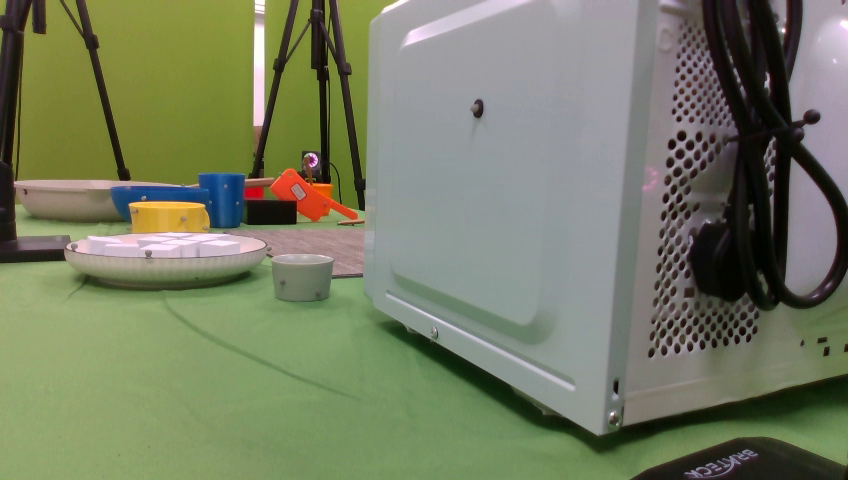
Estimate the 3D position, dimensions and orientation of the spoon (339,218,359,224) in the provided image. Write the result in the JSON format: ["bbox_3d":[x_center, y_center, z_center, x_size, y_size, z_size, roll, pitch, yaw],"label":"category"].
[{"bbox_3d":[-0.087,-0.041,1.268,0.193,0.021,0.041,4,19,13],"label":"spoon"}]

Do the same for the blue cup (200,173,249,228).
[{"bbox_3d":[-0.381,-0.076,1.155,0.093,0.100,0.092,0,8,0],"label":"blue cup"}]

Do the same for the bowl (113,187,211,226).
[{"bbox_3d":[-0.436,-0.046,1.013,0.151,0.077,0.151,2,7,0],"label":"bowl"}]

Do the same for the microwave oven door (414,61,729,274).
[{"bbox_3d":[0.167,-0.091,0.733,0.355,0.243,0.039,3,8,12],"label":"microwave oven door"}]

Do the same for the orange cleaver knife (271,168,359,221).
[{"bbox_3d":[-0.236,-0.084,1.332,0.212,0.077,0.012,31,-10,-31],"label":"orange cleaver knife"}]

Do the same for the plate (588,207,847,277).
[{"bbox_3d":[0.245,-0.001,0.511,0.209,0.038,0.209,1,8,0],"label":"plate"}]

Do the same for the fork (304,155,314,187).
[{"bbox_3d":[-0.268,-0.134,1.446,0.028,0.018,0.207,2,-36,-1],"label":"fork"}]

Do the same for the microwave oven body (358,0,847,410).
[{"bbox_3d":[0.210,-0.051,0.471,0.444,0.260,0.324,-1,7,-28],"label":"microwave oven body"}]

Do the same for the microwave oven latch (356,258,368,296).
[{"bbox_3d":[-0.019,0.031,0.528,0.079,0.029,0.030,-1,7,-24],"label":"microwave oven latch"}]

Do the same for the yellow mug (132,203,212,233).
[{"bbox_3d":[-0.356,-0.020,0.878,0.099,0.064,0.131,4,7,22],"label":"yellow mug"}]

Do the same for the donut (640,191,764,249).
[{"bbox_3d":[0.236,-0.017,0.518,0.099,0.048,0.099,3,5,0],"label":"donut"}]

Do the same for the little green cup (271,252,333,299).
[{"bbox_3d":[-0.122,0.035,0.605,0.061,0.038,0.061,2,7,0],"label":"little green cup"}]

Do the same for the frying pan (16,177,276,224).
[{"bbox_3d":[-0.553,-0.097,1.265,0.490,0.102,0.305,-10,13,-24],"label":"frying pan"}]

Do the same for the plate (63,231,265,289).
[{"bbox_3d":[-0.288,0.021,0.687,0.208,0.039,0.207,2,8,0],"label":"plate"}]
